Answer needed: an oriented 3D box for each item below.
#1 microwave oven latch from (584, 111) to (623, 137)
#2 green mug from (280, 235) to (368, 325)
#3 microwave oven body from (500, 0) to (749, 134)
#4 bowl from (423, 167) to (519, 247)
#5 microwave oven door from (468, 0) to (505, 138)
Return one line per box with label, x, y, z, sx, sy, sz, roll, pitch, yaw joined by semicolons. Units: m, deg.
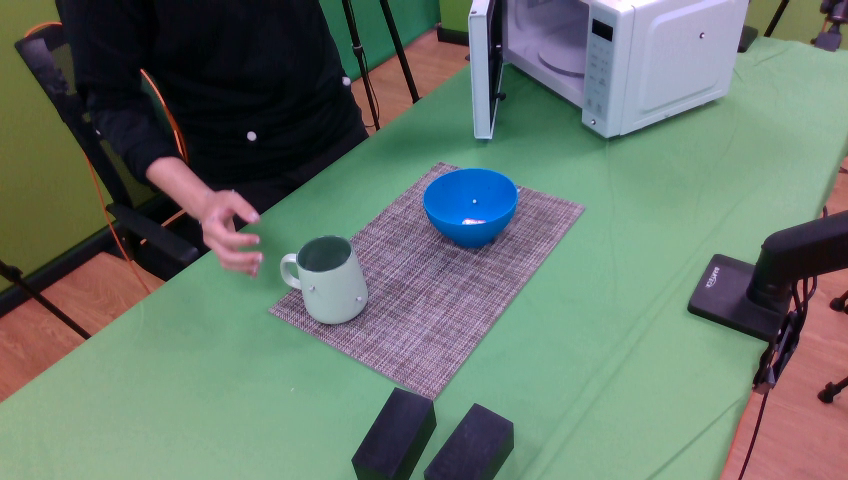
microwave oven latch;0.337;-0.222;1.142;0.030;0.029;0.078;-21;42;-14
green mug;-0.146;0.055;0.857;0.125;0.105;0.092;8;43;17
microwave oven body;0.382;-0.445;1.246;0.327;0.261;0.437;-22;42;-16
bowl;0.075;-0.041;0.958;0.151;0.077;0.150;-4;40;4
microwave oven door;0.132;-0.404;1.225;0.039;0.245;0.354;1;42;11
